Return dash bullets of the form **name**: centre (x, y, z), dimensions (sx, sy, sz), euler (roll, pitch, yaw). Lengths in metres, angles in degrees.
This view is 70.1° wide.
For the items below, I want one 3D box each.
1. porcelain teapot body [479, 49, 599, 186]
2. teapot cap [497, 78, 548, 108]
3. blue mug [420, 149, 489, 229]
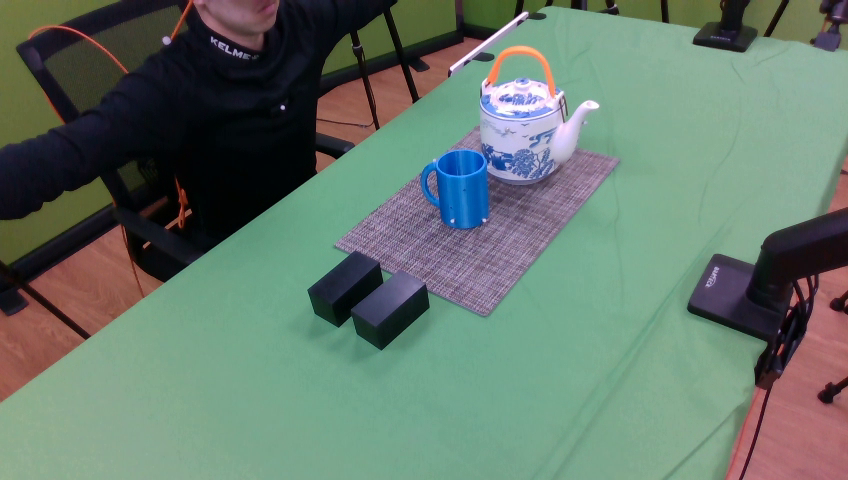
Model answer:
- **porcelain teapot body**: centre (0.192, -0.208, 1.023), dimensions (0.204, 0.226, 0.145), euler (16, 46, 25)
- **teapot cap**: centre (0.165, -0.246, 1.009), dimensions (0.085, 0.044, 0.084), euler (-4, 44, 4)
- **blue mug**: centre (0.048, -0.085, 0.991), dimensions (0.116, 0.106, 0.082), euler (9, 43, 19)
